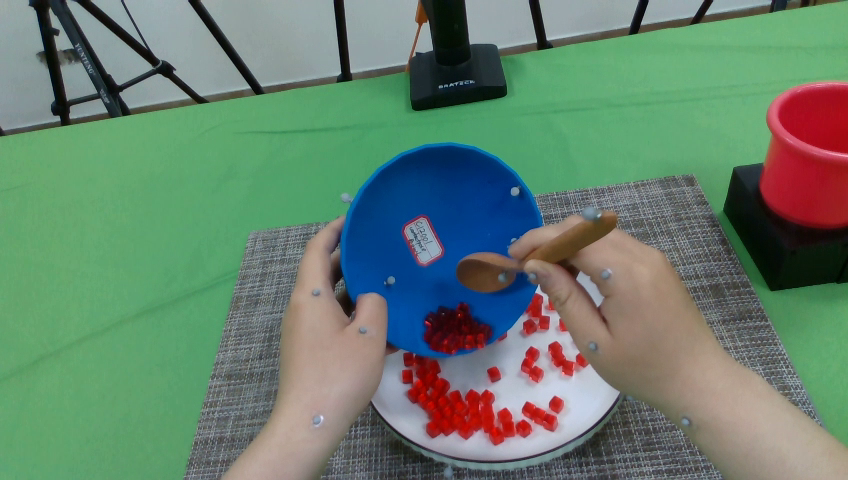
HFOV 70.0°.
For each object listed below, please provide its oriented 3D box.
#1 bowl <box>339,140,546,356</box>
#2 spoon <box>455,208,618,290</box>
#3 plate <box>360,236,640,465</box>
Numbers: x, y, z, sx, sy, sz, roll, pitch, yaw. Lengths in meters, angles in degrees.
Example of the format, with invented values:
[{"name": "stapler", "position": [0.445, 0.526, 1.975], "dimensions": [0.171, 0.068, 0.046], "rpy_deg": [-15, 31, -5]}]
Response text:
[{"name": "bowl", "position": [0.006, 0.004, 0.452], "dimensions": [0.151, 0.152, 0.076], "rpy_deg": [-25, 12, -13]}, {"name": "spoon", "position": [0.060, 0.011, 0.358], "dimensions": [0.042, 0.193, 0.021], "rpy_deg": [24, 77, -9]}, {"name": "plate", "position": [0.056, 0.077, 0.467], "dimensions": [0.207, 0.039, 0.205], "rpy_deg": [-6, 45, 7]}]
